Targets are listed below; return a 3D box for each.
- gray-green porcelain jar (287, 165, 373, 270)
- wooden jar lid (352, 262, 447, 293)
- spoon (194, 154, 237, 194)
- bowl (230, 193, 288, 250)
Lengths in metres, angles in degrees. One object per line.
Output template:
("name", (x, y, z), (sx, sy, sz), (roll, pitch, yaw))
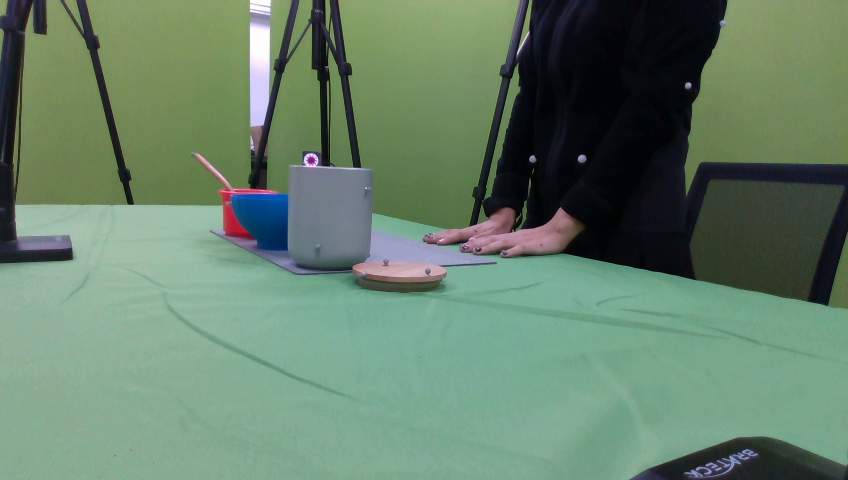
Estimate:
("gray-green porcelain jar", (-0.119, -0.029, 0.767), (0.106, 0.126, 0.106), (2, 7, 0))
("wooden jar lid", (-0.028, 0.042, 0.687), (0.108, 0.020, 0.108), (3, 8, 0))
("spoon", (-0.334, -0.083, 1.042), (0.193, 0.021, 0.042), (50, 23, 11))
("bowl", (-0.214, -0.028, 0.912), (0.151, 0.077, 0.151), (2, 8, 0))
